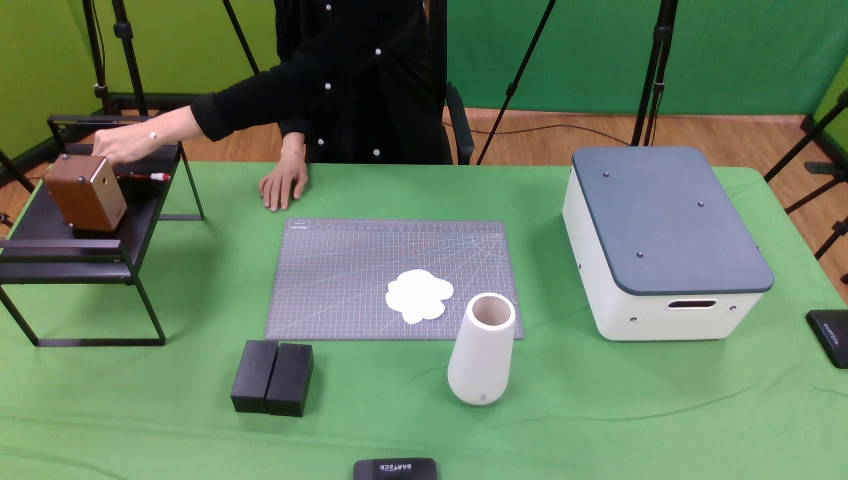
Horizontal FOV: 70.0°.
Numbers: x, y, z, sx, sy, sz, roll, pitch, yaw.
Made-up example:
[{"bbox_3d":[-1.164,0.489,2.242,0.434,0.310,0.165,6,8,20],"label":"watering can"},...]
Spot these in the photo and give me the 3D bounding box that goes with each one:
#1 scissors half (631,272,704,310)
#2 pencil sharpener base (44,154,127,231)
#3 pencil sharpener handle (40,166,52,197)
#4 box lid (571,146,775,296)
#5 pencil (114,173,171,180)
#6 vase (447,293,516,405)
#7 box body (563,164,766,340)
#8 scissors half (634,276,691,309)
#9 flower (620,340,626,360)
[{"bbox_3d":[0.460,0.092,1.132,0.175,0.040,0.013,-22,83,-21],"label":"scissors half"},{"bbox_3d":[-0.512,-0.071,0.918,0.077,0.107,0.061,3,46,0],"label":"pencil sharpener base"},{"bbox_3d":[-0.562,-0.085,0.911,0.030,0.068,0.036,3,58,0],"label":"pencil sharpener handle"},{"bbox_3d":[0.424,-0.048,1.074,0.263,0.015,0.369,-1,46,-4],"label":"box lid"},{"bbox_3d":[-0.524,-0.109,1.020,0.194,0.012,0.012,2,46,1],"label":"pencil"},{"bbox_3d":[0.091,0.169,0.921,0.098,0.201,0.097,3,47,-3],"label":"vase"},{"bbox_3d":[0.421,0.003,1.130,0.254,0.161,0.361,0,46,-5],"label":"box body"},{"bbox_3d":[0.454,0.096,1.144,0.175,0.040,0.013,-20,88,-31],"label":"scissors half"},{"bbox_3d":[0.416,0.065,1.186,0.038,0.044,0.360,29,64,-20],"label":"flower"}]
